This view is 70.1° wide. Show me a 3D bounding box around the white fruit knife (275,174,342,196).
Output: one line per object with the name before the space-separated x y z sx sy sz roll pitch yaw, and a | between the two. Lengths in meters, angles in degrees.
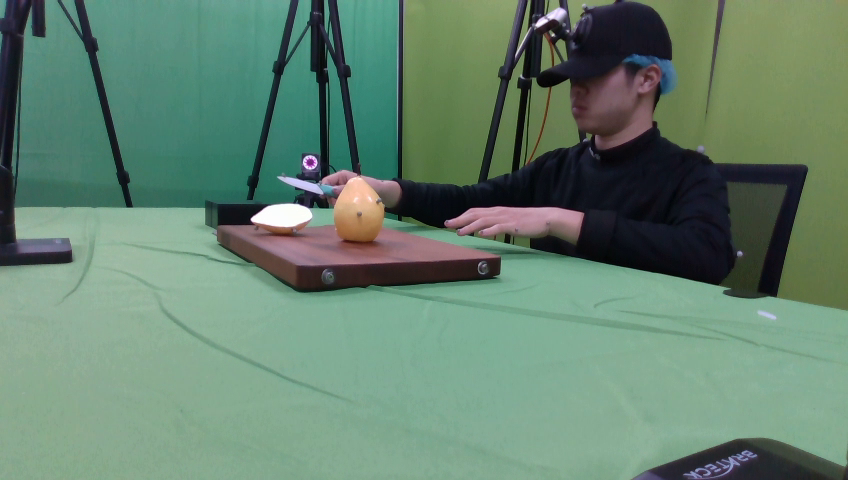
white fruit knife | -0.196 -0.098 1.140 0.016 0.027 0.208 -39 -29 26

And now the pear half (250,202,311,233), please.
pear half | -0.212 -0.027 0.899 0.088 0.031 0.070 -17 31 -25

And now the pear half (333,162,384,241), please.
pear half | -0.085 -0.053 0.842 0.056 0.110 0.076 6 12 28
